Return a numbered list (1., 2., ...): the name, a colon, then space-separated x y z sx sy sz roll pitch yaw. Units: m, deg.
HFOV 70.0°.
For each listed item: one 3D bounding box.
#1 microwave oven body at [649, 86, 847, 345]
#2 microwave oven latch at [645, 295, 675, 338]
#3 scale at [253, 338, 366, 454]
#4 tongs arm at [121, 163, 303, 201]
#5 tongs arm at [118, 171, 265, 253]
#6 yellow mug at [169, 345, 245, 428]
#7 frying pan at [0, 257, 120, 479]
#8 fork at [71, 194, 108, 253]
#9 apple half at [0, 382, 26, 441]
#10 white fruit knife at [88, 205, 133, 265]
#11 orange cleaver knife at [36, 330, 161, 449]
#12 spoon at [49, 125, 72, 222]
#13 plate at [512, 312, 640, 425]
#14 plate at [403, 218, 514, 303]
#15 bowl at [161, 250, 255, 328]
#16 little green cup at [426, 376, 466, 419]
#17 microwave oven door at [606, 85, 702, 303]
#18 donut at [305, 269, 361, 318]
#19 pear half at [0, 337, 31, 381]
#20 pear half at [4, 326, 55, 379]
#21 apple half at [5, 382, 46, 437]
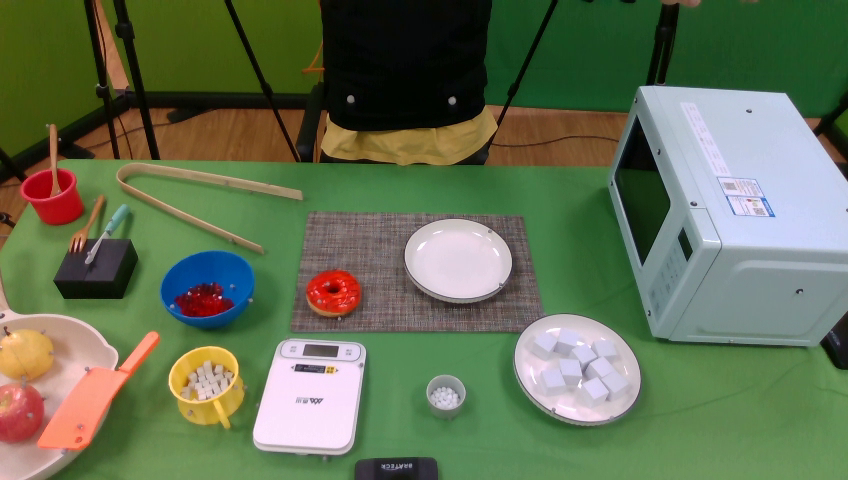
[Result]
1. microwave oven body: 0.567 -0.053 1.119 0.326 0.261 0.439 2 45 -1
2. microwave oven latch: 0.411 0.134 1.061 0.030 0.029 0.078 3 45 0
3. scale: -0.175 0.236 0.951 0.149 0.032 0.199 4 45 0
4. tongs arm: -0.443 -0.115 1.266 0.384 0.026 0.050 12 50 7
5. tongs arm: -0.473 -0.056 1.210 0.386 0.028 0.028 23 55 17
6. yellow mug: -0.322 0.230 0.922 0.100 0.064 0.130 -24 53 -25
7. frying pan: -0.647 0.164 0.936 0.307 0.103 0.485 -19 58 -22
8. fork: -0.634 -0.036 1.158 0.028 0.019 0.206 -8 32 -8
9. apple half: -0.605 0.250 0.871 0.053 0.075 0.080 -9 51 -7
10. white fruit knife: -0.584 -0.013 1.129 0.016 0.027 0.206 0 32 -5
11. orange cleaver knife: -0.466 0.210 0.880 0.077 0.012 0.210 15 46 9
12. spoon: -0.718 -0.131 1.189 0.041 0.021 0.193 -4 90 -6
13. plate: 0.246 0.213 0.999 0.208 0.039 0.206 2 46 -2
14. plate: 0.064 0.042 1.146 0.209 0.038 0.208 3 46 -2
15. bowl: -0.362 0.098 1.040 0.151 0.077 0.150 2 45 -2
16. little green cup: 0.033 0.248 0.950 0.061 0.039 0.061 2 46 -2
17. microwave oven door: 0.423 -0.094 1.141 0.039 0.245 0.353 2 46 -1
18. donut: -0.160 0.094 1.075 0.099 0.048 0.098 4 45 -3
19. pear half: -0.632 0.185 0.920 0.070 0.088 0.031 30 49 20
20. pear half: -0.609 0.159 0.934 0.076 0.110 0.056 32 52 20
21. apple half: -0.567 0.244 0.877 0.033 0.082 0.080 -9 47 -7
